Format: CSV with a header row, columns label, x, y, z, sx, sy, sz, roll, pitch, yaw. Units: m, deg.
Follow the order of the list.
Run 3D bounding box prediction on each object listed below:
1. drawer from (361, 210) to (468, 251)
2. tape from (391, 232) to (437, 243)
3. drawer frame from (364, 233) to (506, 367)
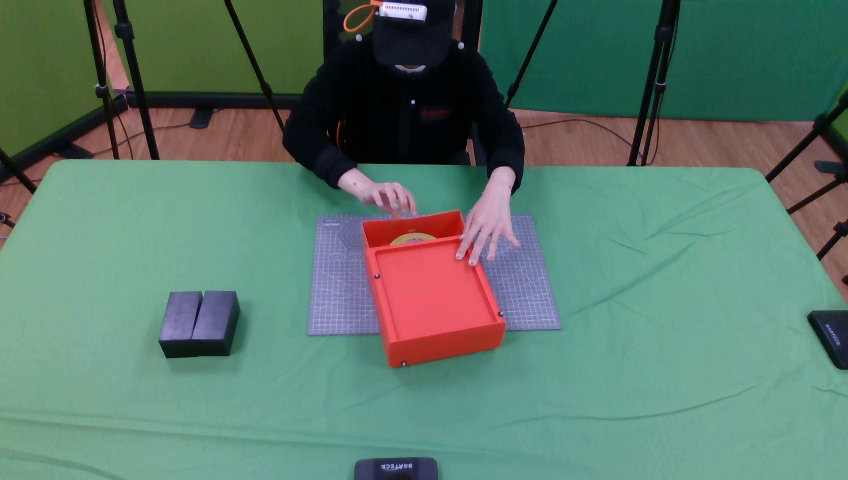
label,x,y,z,sx,sy,sz,roll,pitch,yaw
drawer,-0.002,0.049,1.107,0.195,0.073,0.210,-7,48,-12
tape,-0.012,0.043,1.122,0.117,0.053,0.116,1,46,-1
drawer frame,0.013,0.098,1.058,0.202,0.083,0.212,-9,48,-13
